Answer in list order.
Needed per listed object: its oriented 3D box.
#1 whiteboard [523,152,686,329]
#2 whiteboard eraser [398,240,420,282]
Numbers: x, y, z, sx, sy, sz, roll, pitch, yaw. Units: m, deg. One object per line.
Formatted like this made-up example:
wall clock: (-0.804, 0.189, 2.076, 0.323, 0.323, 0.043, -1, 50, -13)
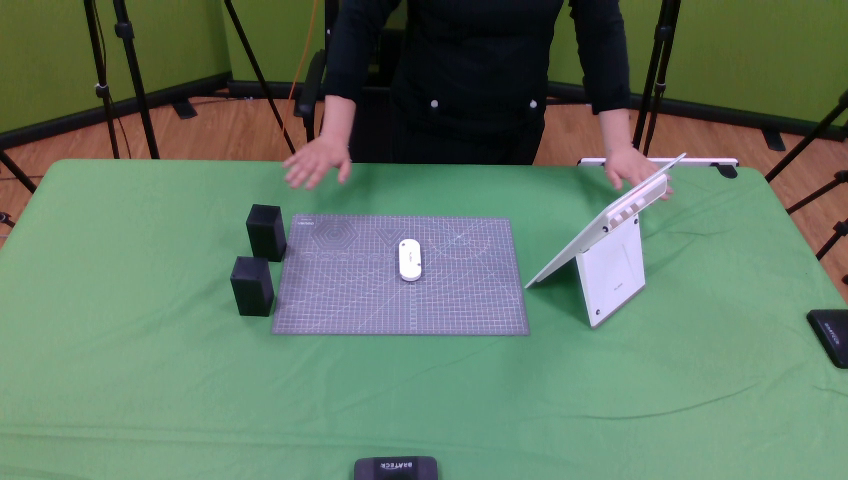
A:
whiteboard: (0.346, 0.024, 1.047, 0.217, 0.306, 0.143, -30, 74, -29)
whiteboard eraser: (-0.029, 0.039, 1.156, 0.041, 0.019, 0.100, 0, 45, -4)
